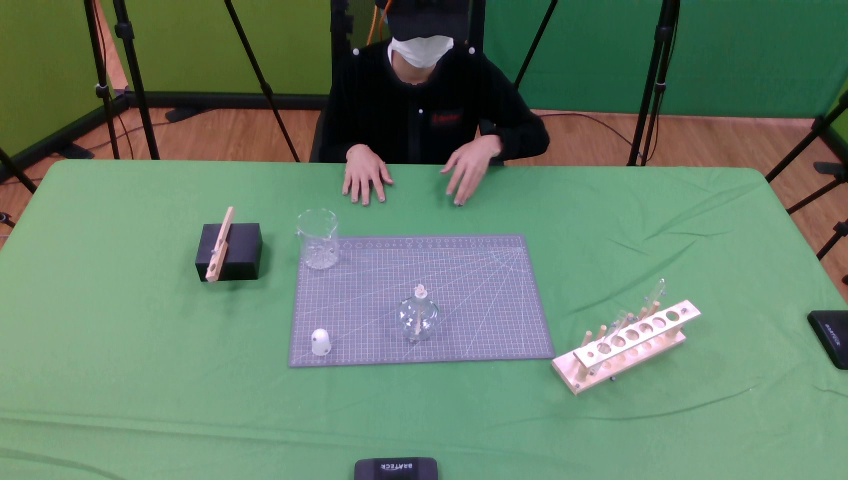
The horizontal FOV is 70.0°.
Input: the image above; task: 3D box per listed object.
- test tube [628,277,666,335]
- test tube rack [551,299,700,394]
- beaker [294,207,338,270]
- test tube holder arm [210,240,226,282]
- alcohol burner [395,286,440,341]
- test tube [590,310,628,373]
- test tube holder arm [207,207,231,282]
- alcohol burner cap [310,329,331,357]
[{"bbox_3d":[0.371,0.112,1.014,0.017,0.151,0.017,3,47,-3],"label":"test tube"},{"bbox_3d":[0.339,0.166,1.021,0.242,0.085,0.066,-19,50,-21],"label":"test tube rack"},{"bbox_3d":[-0.196,0.003,1.123,0.074,0.101,0.083,-23,53,-24],"label":"beaker"},{"bbox_3d":[-0.363,0.036,1.070,0.010,0.015,0.087,-3,47,-1],"label":"test tube holder arm"},{"bbox_3d":[-0.010,0.116,1.018,0.078,0.119,0.077,3,47,-3],"label":"alcohol burner"},{"bbox_3d":[0.288,0.162,0.951,0.017,0.151,0.017,4,44,-4],"label":"test tube"},{"bbox_3d":[-0.371,0.004,1.100,0.013,0.015,0.177,-4,47,-2],"label":"test tube holder arm"},{"bbox_3d":[-0.173,0.168,1.005,0.034,0.048,0.033,2,46,-2],"label":"alcohol burner cap"}]
